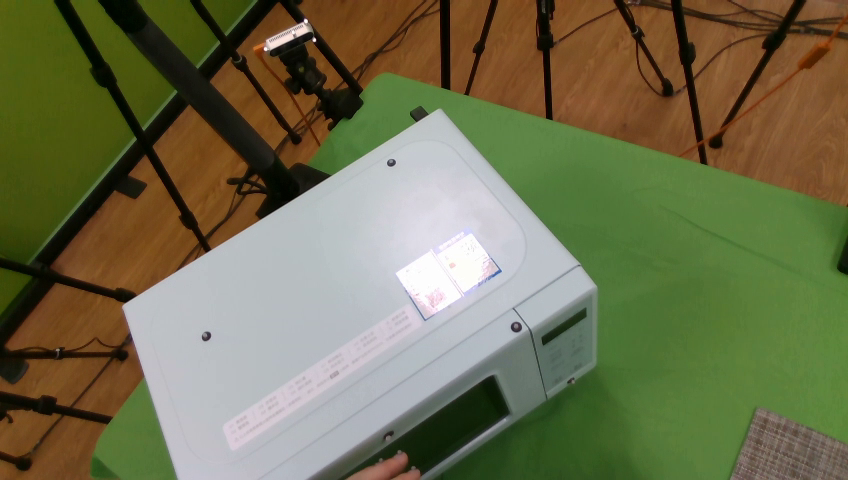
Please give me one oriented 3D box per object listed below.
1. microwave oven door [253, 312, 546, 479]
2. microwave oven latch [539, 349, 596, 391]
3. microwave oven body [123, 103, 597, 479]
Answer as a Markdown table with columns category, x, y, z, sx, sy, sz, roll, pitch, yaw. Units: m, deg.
| category | x | y | z | sx | sy | sz | roll | pitch | yaw |
| --- | --- | --- | --- | --- | --- | --- | --- | --- | --- |
| microwave oven door | -0.031 | 0.223 | 0.656 | 0.356 | 0.246 | 0.039 | -33 | 57 | -5 |
| microwave oven latch | 0.178 | 0.156 | 0.760 | 0.079 | 0.030 | 0.030 | -31 | 58 | -3 |
| microwave oven body | -0.066 | 0.103 | 0.741 | 0.442 | 0.263 | 0.322 | -33 | 58 | -4 |
